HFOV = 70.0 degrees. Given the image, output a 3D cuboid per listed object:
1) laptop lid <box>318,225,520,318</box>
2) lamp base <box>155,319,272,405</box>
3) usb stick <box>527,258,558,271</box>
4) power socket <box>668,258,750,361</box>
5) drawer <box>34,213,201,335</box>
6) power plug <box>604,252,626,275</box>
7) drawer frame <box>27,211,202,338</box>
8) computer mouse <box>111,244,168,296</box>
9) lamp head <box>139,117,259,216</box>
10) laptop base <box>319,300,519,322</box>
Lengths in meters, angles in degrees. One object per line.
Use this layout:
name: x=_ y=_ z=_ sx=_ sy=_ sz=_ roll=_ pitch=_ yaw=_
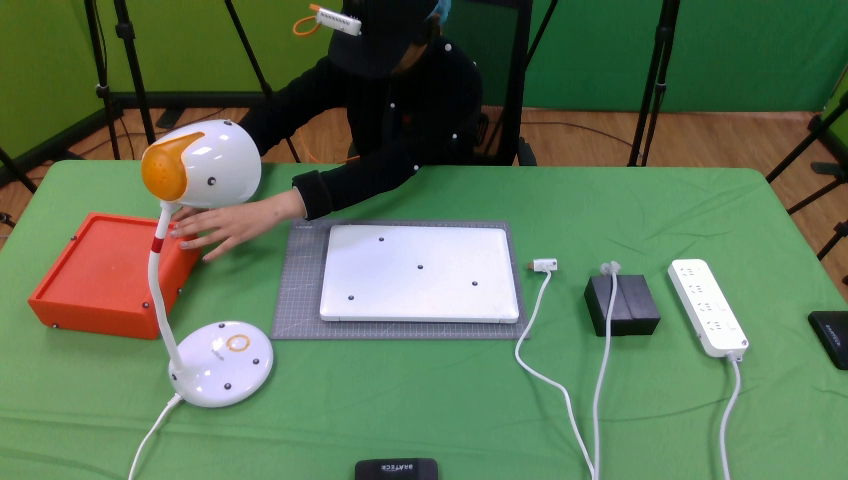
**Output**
laptop lid: x=-0.009 y=0.052 z=1.131 sx=0.357 sy=0.013 sz=0.240 roll=2 pitch=43 yaw=-2
lamp base: x=-0.330 y=0.149 z=0.918 sx=0.160 sy=0.181 sz=0.179 roll=26 pitch=52 yaw=20
usb stick: x=0.226 y=0.047 z=1.159 sx=0.059 sy=0.021 sz=0.027 roll=-3 pitch=8 yaw=10
power socket: x=0.517 y=0.118 z=1.109 sx=0.072 sy=0.033 sz=0.225 roll=-2 pitch=46 yaw=-4
drawer: x=-0.529 y=0.055 z=1.067 sx=0.194 sy=0.073 sz=0.210 roll=7 pitch=47 yaw=2
power plug: x=0.366 y=0.040 z=1.130 sx=0.035 sy=0.072 sz=0.052 roll=40 pitch=56 yaw=-10
drawer frame: x=-0.529 y=0.056 z=1.063 sx=0.202 sy=0.083 sz=0.212 roll=6 pitch=46 yaw=1
computer mouse: x=-0.512 y=0.050 z=1.090 sx=0.063 sy=0.041 sz=0.116 roll=5 pitch=47 yaw=4
lamp head: x=-0.281 y=-0.086 z=0.734 sx=0.112 sy=0.113 sz=0.123 roll=21 pitch=25 yaw=16
laptop base: x=-0.009 y=0.062 z=1.137 sx=0.354 sy=0.023 sz=0.234 roll=1 pitch=42 yaw=-3
